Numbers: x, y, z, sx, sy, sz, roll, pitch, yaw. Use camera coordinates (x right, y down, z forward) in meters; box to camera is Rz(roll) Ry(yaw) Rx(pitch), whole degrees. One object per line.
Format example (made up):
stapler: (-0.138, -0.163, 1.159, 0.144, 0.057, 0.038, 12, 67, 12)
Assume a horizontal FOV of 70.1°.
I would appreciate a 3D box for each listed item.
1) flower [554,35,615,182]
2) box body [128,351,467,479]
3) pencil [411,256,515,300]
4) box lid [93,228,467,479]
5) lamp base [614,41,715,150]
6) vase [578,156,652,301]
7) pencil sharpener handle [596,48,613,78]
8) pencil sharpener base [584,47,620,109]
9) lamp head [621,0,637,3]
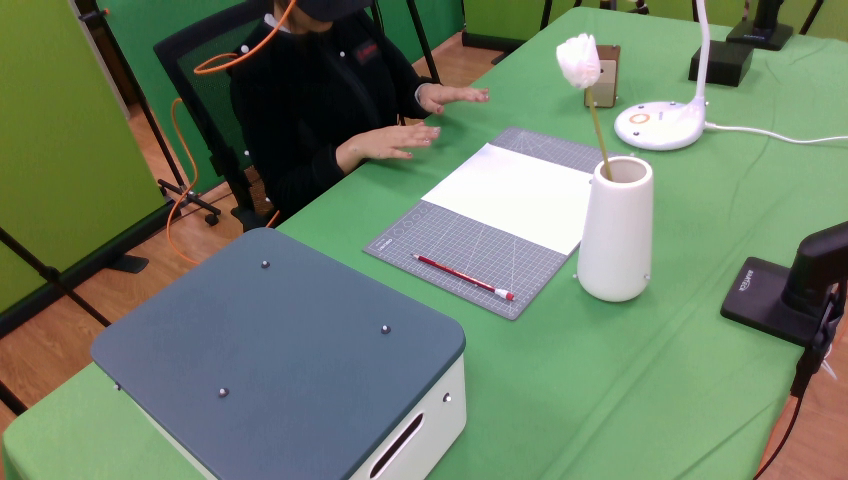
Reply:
flower: (0.237, -0.083, 0.774, 0.044, 0.363, 0.038, -22, 26, 7)
box body: (-0.155, 0.169, 0.707, 0.361, 0.161, 0.255, 23, 49, 33)
pencil: (0.054, 0.054, 0.918, 0.192, 0.012, 0.012, 21, 48, 33)
box lid: (-0.167, 0.110, 0.661, 0.368, 0.015, 0.264, 23, 49, 34)
lamp base: (0.449, -0.277, 1.106, 0.179, 0.181, 0.160, 1, 41, 9)
vase: (0.261, -0.011, 0.812, 0.098, 0.201, 0.097, -4, 40, 4)
pencil sharpener handle: (0.383, -0.378, 1.276, 0.036, 0.068, 0.030, 3, 41, 22)
pencil sharpener base: (0.367, -0.336, 1.248, 0.061, 0.107, 0.076, 6, 42, 19)
lamp head: (0.319, -0.453, 0.962, 0.113, 0.123, 0.112, 20, 33, -13)
